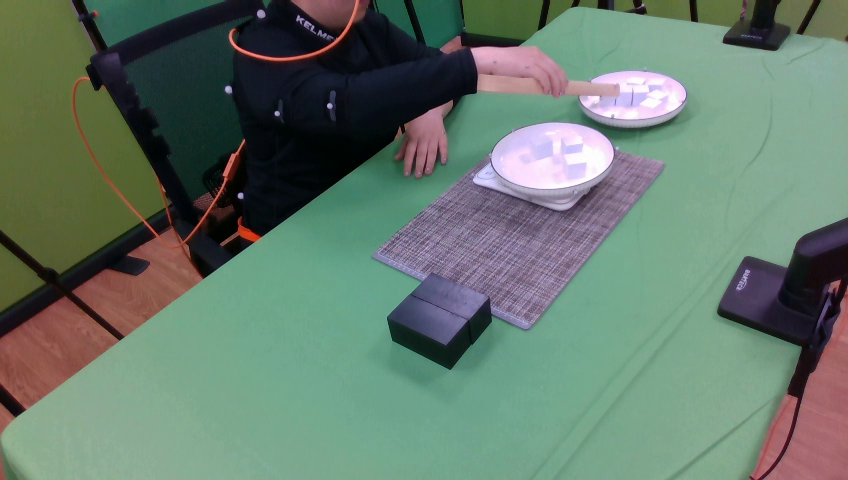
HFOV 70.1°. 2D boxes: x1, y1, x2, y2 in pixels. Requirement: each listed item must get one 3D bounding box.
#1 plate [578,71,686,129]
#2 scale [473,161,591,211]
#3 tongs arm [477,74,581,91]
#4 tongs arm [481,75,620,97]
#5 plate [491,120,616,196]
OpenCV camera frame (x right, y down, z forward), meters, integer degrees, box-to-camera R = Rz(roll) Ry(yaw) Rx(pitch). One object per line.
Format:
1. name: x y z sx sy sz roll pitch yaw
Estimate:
1. plate: 0.416 -0.280 1.222 0.209 0.038 0.208 -5 41 5
2. scale: 0.202 -0.121 1.074 0.199 0.032 0.149 23 49 33
3. tongs arm: 0.218 -0.284 1.114 0.028 0.028 0.390 24 25 39
4. tongs arm: 0.242 -0.276 1.091 0.050 0.026 0.388 19 22 40
5. plate: 0.221 -0.137 1.038 0.207 0.039 0.206 -6 41 5
